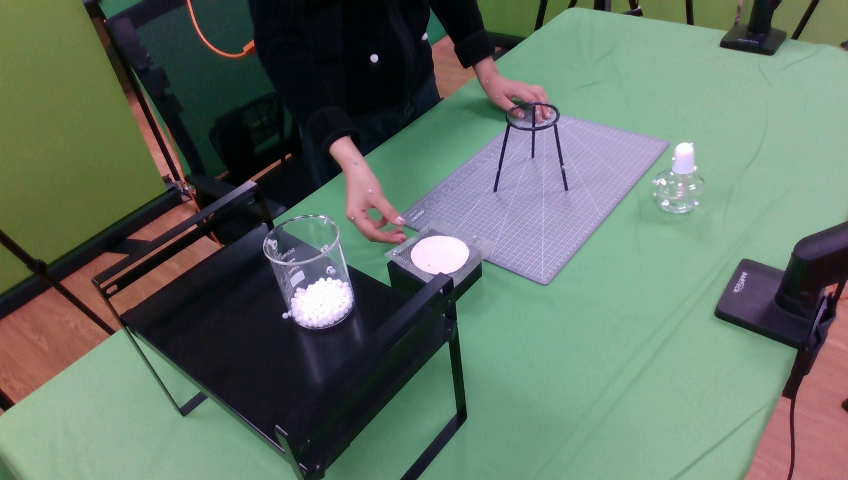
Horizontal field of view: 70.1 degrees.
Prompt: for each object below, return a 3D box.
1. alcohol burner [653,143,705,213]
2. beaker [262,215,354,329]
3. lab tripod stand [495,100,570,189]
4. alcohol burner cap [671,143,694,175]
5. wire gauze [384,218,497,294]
[{"bbox_3d":[0.408,-0.102,0.963,0.078,0.119,0.077,-6,42,5],"label":"alcohol burner"},{"bbox_3d":[-0.112,0.034,0.616,0.073,0.101,0.084,13,44,23],"label":"beaker"},{"bbox_3d":[0.186,-0.161,1.043,0.148,0.132,0.147,-4,43,4],"label":"lab tripod stand"},{"bbox_3d":[0.403,-0.129,0.941,0.034,0.048,0.033,-9,39,8],"label":"alcohol burner cap"},{"bbox_3d":[0.024,0.016,0.886,0.124,0.011,0.122,28,49,33],"label":"wire gauze"}]
